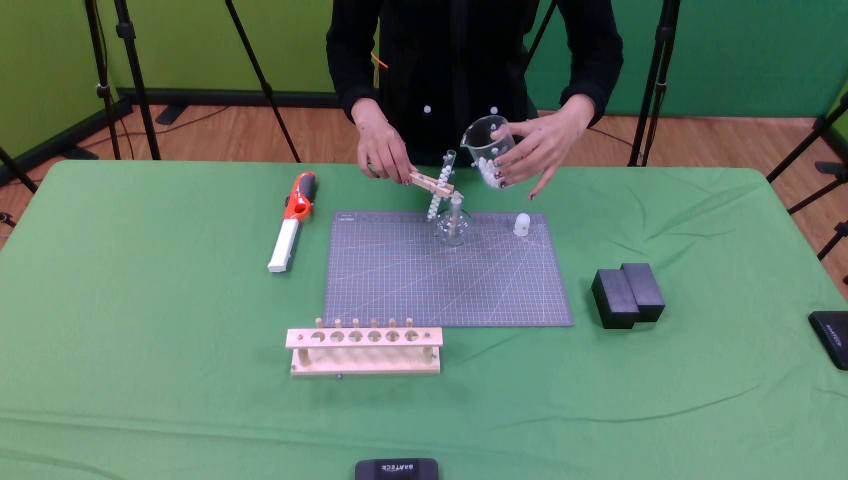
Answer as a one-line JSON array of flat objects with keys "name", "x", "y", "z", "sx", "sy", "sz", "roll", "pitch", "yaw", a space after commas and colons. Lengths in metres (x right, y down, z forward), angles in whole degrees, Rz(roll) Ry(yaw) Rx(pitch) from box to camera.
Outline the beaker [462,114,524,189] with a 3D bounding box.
[{"name": "beaker", "x": 0.114, "y": -0.137, "z": 0.969, "sx": 0.084, "sy": 0.101, "sz": 0.073, "roll": -19, "pitch": 44, "yaw": 11}]

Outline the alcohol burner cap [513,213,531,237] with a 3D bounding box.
[{"name": "alcohol burner cap", "x": 0.200, "y": -0.034, "z": 1.227, "sx": 0.034, "sy": 0.048, "sz": 0.033, "roll": 1, "pitch": 45, "yaw": -1}]

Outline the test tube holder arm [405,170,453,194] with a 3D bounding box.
[{"name": "test tube holder arm", "x": 0.007, "y": -0.100, "z": 1.032, "sx": 0.088, "sy": 0.015, "sz": 0.010, "roll": 20, "pitch": 38, "yaw": 9}]

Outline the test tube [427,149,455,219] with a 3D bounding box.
[{"name": "test tube", "x": 0.027, "y": -0.091, "z": 1.021, "sx": 0.017, "sy": 0.151, "sz": 0.017, "roll": 9, "pitch": 44, "yaw": -9}]

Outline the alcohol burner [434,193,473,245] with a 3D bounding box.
[{"name": "alcohol burner", "x": 0.059, "y": -0.046, "z": 1.179, "sx": 0.078, "sy": 0.120, "sz": 0.077, "roll": 1, "pitch": 48, "yaw": -1}]

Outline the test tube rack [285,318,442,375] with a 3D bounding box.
[{"name": "test tube rack", "x": -0.095, "y": 0.168, "z": 0.986, "sx": 0.242, "sy": 0.085, "sz": 0.066, "roll": 0, "pitch": 46, "yaw": -4}]

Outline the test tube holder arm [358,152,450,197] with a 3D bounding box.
[{"name": "test tube holder arm", "x": -0.036, "y": -0.113, "z": 1.037, "sx": 0.178, "sy": 0.015, "sz": 0.013, "roll": 24, "pitch": 38, "yaw": 15}]

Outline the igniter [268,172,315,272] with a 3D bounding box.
[{"name": "igniter", "x": -0.264, "y": -0.045, "z": 1.219, "sx": 0.057, "sy": 0.025, "sz": 0.275, "roll": -2, "pitch": 45, "yaw": 8}]
